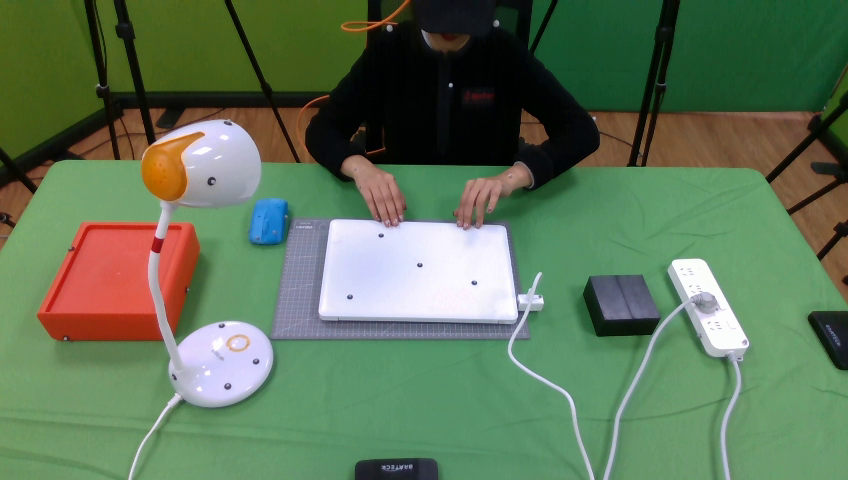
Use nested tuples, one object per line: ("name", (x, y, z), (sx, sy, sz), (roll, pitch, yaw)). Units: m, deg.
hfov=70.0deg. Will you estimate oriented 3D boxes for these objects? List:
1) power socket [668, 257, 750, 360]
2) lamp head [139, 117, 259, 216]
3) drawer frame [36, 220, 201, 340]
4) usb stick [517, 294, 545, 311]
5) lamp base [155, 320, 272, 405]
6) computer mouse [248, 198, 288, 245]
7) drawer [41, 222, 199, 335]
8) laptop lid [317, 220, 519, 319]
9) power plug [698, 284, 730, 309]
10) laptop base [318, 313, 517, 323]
("power socket", (0.517, 0.117, 1.110), (0.072, 0.033, 0.225), (-3, 47, -4))
("lamp head", (-0.281, -0.086, 0.734), (0.112, 0.113, 0.123), (21, 25, 16))
("drawer frame", (-0.517, 0.065, 1.055), (0.202, 0.083, 0.212), (0, 47, -5))
("usb stick", (0.184, 0.111, 1.085), (0.059, 0.027, 0.021), (-1, 48, -3))
("lamp base", (-0.330, 0.149, 0.918), (0.160, 0.181, 0.179), (26, 52, 20))
("computer mouse", (-0.309, -0.041, 1.205), (0.063, 0.041, 0.116), (3, 50, -3))
("drawer", (-0.519, 0.064, 1.057), (0.195, 0.073, 0.210), (1, 46, -4))
("laptop lid", (-0.010, 0.048, 1.125), (0.357, 0.013, 0.240), (3, 47, -2))
("power plug", (0.509, 0.096, 1.060), (0.052, 0.073, 0.035), (-22, 61, 10))
("laptop base", (-0.011, 0.063, 1.138), (0.354, 0.023, 0.234), (1, 43, -3))
